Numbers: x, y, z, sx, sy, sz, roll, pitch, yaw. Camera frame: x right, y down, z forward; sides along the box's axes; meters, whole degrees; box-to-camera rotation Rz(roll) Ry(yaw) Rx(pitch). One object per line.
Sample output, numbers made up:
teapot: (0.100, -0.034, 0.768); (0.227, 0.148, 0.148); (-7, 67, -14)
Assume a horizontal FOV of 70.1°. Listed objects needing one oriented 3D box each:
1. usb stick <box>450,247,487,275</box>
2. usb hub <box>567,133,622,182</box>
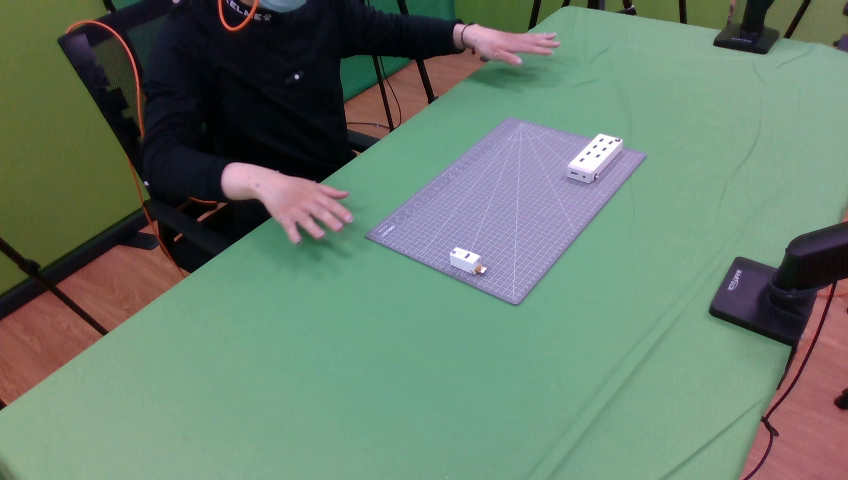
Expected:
usb stick: (0.069, 0.033, 0.912); (0.059, 0.027, 0.021); (24, 48, 28)
usb hub: (0.309, -0.149, 1.091); (0.049, 0.025, 0.125); (24, 50, 31)
